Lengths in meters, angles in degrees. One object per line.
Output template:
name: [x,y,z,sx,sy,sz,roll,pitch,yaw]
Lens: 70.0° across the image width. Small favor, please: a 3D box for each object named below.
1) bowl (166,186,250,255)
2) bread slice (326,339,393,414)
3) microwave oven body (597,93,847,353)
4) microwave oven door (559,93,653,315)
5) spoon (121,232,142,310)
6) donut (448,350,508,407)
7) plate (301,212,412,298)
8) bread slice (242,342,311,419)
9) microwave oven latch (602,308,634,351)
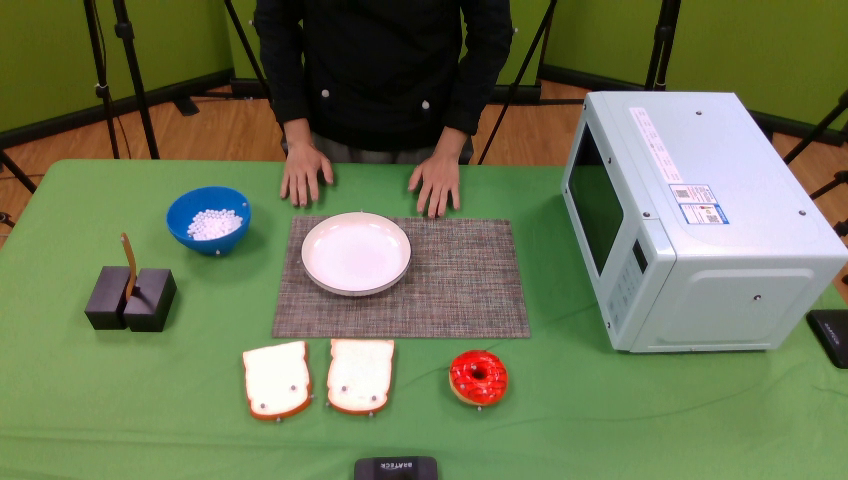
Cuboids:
bowl: [-0.403,-0.024,1.154,0.151,0.077,0.150,2,46,-2]
bread slice: [-0.104,0.219,0.983,0.107,0.018,0.133,0,45,-4]
microwave oven body: [0.475,-0.041,1.109,0.326,0.261,0.438,-1,45,-4]
microwave oven door: [0.327,-0.074,1.123,0.039,0.245,0.353,-1,46,-5]
spoon: [-0.479,0.051,0.993,0.022,0.194,0.041,13,46,-11]
donut: [0.087,0.223,0.977,0.099,0.048,0.098,4,46,-4]
plate: [-0.127,0.031,1.145,0.208,0.039,0.206,2,46,-2]
bread slice: [-0.234,0.223,0.970,0.105,0.019,0.130,-10,47,-13]
microwave oven latch: [0.332,0.153,1.044,0.030,0.029,0.078,-1,45,-4]
